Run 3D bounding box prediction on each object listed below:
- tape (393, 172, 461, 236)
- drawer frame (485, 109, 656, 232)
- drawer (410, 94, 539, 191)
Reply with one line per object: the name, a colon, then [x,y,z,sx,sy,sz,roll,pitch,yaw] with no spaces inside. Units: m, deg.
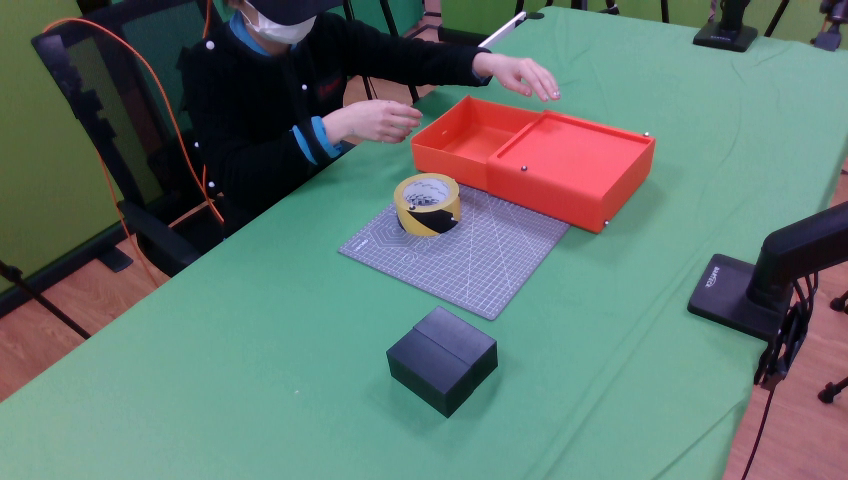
tape: [0.005,-0.061,1.012,0.117,0.053,0.116,-4,40,4]
drawer frame: [0.247,-0.126,1.029,0.212,0.083,0.202,24,49,30]
drawer: [0.116,-0.180,1.118,0.210,0.073,0.195,22,48,31]
